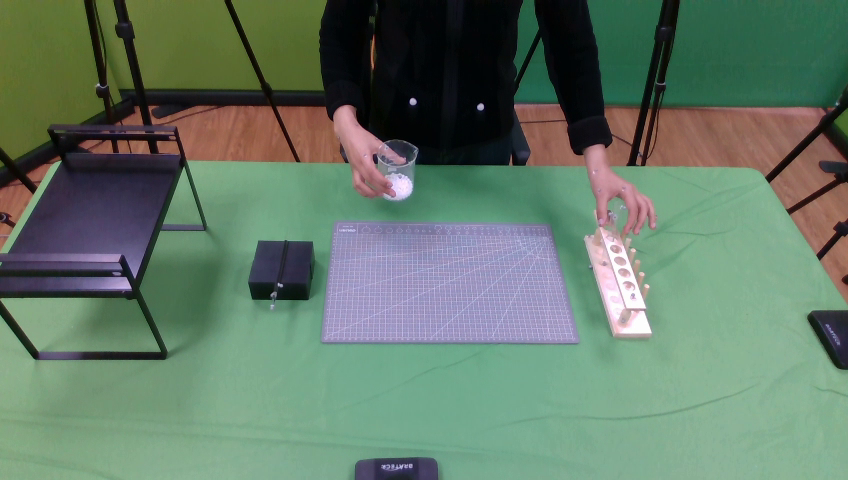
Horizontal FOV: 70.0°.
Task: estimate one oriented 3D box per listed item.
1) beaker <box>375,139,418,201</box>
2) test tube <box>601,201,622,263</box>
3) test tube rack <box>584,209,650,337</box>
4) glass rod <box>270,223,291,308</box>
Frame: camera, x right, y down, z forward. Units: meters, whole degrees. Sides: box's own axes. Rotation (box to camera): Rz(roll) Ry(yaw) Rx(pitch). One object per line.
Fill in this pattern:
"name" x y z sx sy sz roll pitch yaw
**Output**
"beaker" -0.053 -0.130 1.149 0.084 0.101 0.073 -21 56 -21
"test tube" 0.346 -0.012 1.123 0.017 0.151 0.017 -2 45 2
"test tube rack" 0.365 0.056 1.129 0.067 0.085 0.240 1 46 -3
"glass rod" -0.255 0.041 1.081 0.008 0.008 0.198 2 46 -2
